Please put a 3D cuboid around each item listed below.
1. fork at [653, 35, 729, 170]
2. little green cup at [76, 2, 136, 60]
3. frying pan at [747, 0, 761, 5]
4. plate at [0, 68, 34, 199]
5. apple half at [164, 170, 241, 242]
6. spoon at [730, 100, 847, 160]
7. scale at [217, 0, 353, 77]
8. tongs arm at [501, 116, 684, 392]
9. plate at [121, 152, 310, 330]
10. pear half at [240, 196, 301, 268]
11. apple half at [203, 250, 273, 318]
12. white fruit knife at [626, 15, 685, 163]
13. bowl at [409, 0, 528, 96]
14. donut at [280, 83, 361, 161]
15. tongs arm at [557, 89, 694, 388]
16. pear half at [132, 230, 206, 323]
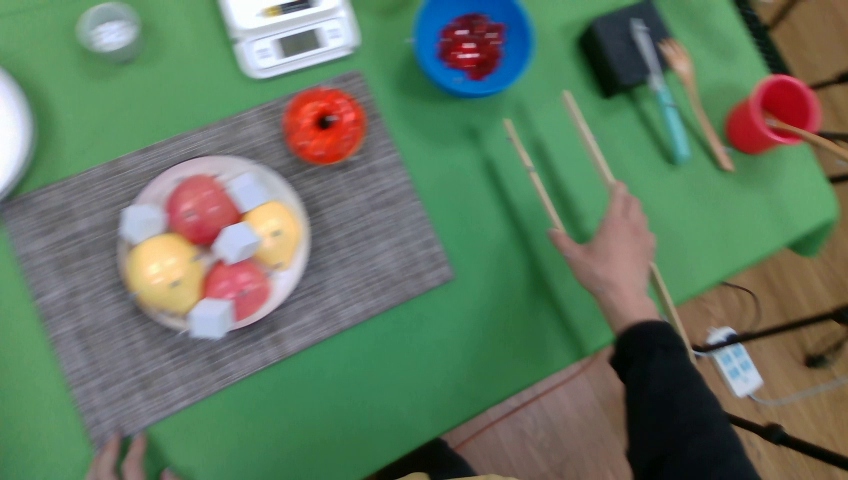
[{"bbox_3d":[0.369,-0.186,0.828,0.028,0.018,0.208,-35,103,-15],"label":"fork"},{"bbox_3d":[-0.381,-0.250,0.731,0.062,0.038,0.061,2,80,-8],"label":"little green cup"},{"bbox_3d":[0.261,-0.466,0.837,0.486,0.103,0.306,37,78,7],"label":"frying pan"},{"bbox_3d":[-0.549,-0.115,0.682,0.208,0.039,0.207,2,80,-9],"label":"plate"},{"bbox_3d":[-0.257,-0.040,0.694,0.074,0.053,0.081,-37,91,-10],"label":"apple half"},{"bbox_3d":[0.489,-0.143,0.799,0.041,0.022,0.191,-30,42,-13],"label":"spoon"},{"bbox_3d":[-0.189,-0.318,0.777,0.149,0.031,0.200,-20,85,-11],"label":"scale"},{"bbox_3d":[0.200,0.011,0.733,0.051,0.026,0.383,-25,83,-5],"label":"tongs arm"},{"bbox_3d":[-0.238,0.001,0.708,0.209,0.038,0.208,2,80,-9],"label":"plate"},{"bbox_3d":[-0.183,-0.011,0.712,0.070,0.031,0.087,-23,82,1],"label":"pear half"},{"bbox_3d":[-0.217,0.049,0.694,0.081,0.033,0.081,2,74,-7],"label":"apple half"},{"bbox_3d":[0.309,-0.201,0.813,0.016,0.027,0.208,-27,100,-13],"label":"white fruit knife"},{"bbox_3d":[0.050,-0.247,0.780,0.152,0.077,0.151,2,81,-9],"label":"bowl"},{"bbox_3d":[-0.127,-0.145,0.748,0.099,0.048,0.098,1,82,-7],"label":"donut"},{"bbox_3d":[0.242,-0.009,0.737,0.028,0.028,0.386,-21,83,-8],"label":"tongs arm"},{"bbox_3d":[-0.276,0.042,0.673,0.076,0.056,0.110,-31,90,-21],"label":"pear half"}]
